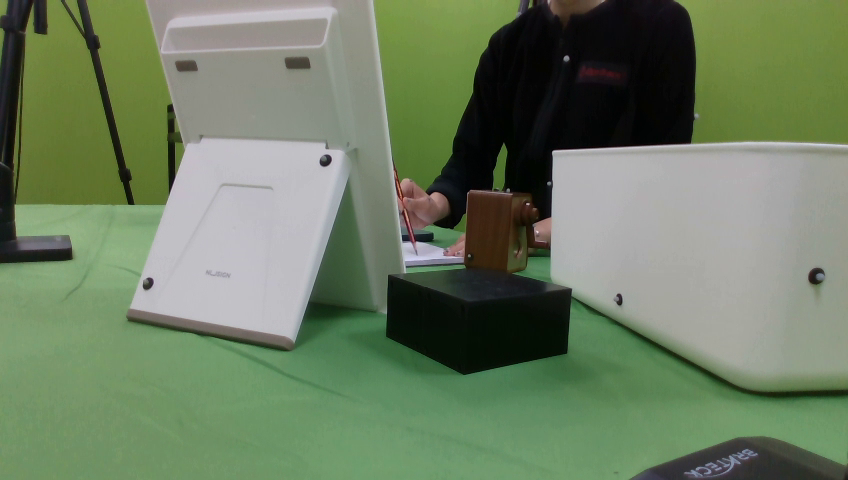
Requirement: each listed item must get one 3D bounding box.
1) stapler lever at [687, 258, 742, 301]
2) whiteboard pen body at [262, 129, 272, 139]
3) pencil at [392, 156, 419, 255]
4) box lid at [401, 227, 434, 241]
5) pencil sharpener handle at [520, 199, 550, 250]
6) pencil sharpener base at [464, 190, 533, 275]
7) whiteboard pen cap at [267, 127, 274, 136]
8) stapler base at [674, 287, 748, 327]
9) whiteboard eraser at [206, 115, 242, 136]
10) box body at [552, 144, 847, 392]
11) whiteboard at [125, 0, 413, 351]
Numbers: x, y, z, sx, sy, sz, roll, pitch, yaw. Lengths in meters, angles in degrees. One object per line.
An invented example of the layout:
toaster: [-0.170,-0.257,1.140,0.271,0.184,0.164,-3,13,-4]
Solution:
stapler lever: [0.283,0.035,0.585,0.026,0.040,0.119,11,8,37]
whiteboard pen body: [-0.361,-0.245,1.393,0.017,0.017,0.140,0,5,-20]
pencil: [-0.035,-0.070,0.899,0.012,0.193,0.012,-16,-6,-1]
box lid: [-0.196,-0.015,1.105,0.373,0.015,0.262,-1,7,-32]
pencil sharpener handle: [0.147,-0.019,0.785,0.030,0.068,0.036,8,25,36]
pencil sharpener base: [0.103,-0.012,0.813,0.076,0.107,0.061,8,9,36]
whiteboard pen cap: [-0.340,-0.239,1.337,0.018,0.018,0.033,1,-1,-14]
stapler base: [0.281,0.061,0.586,0.041,0.024,0.131,11,9,37]
whiteboard eraser: [-0.438,-0.249,1.320,0.056,0.042,0.112,-3,9,-30]
box body: [0.290,0.002,0.549,0.255,0.160,0.363,2,7,-10]
whiteboard: [-0.151,-0.050,0.471,0.216,0.305,0.144,6,27,24]
